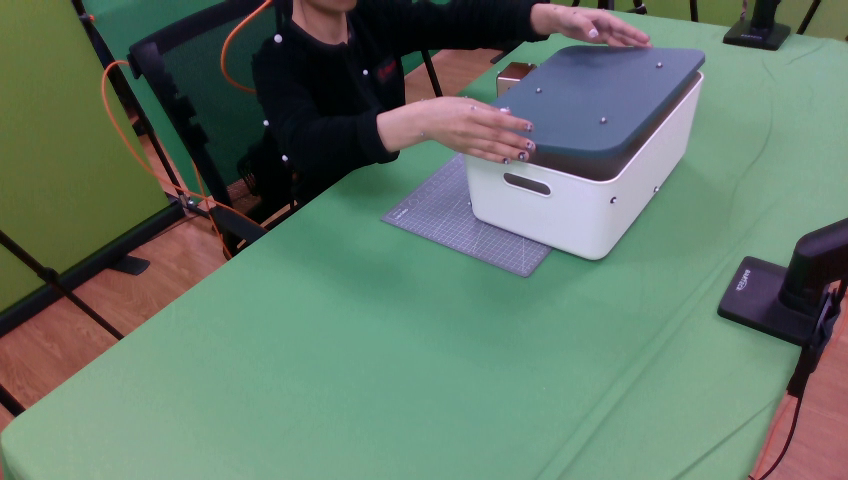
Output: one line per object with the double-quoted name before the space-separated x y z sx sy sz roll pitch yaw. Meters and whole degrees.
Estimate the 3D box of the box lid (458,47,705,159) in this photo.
"box lid" 0.253 -0.230 0.947 0.261 0.015 0.372 16 43 37

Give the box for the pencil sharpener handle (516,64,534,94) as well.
"pencil sharpener handle" 0.214 -0.337 1.249 0.036 0.068 0.031 12 44 29

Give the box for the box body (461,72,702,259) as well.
"box body" 0.264 -0.153 1.000 0.252 0.161 0.365 22 49 32

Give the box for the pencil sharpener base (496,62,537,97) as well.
"pencil sharpener base" 0.190 -0.296 1.225 0.061 0.107 0.077 14 45 27
